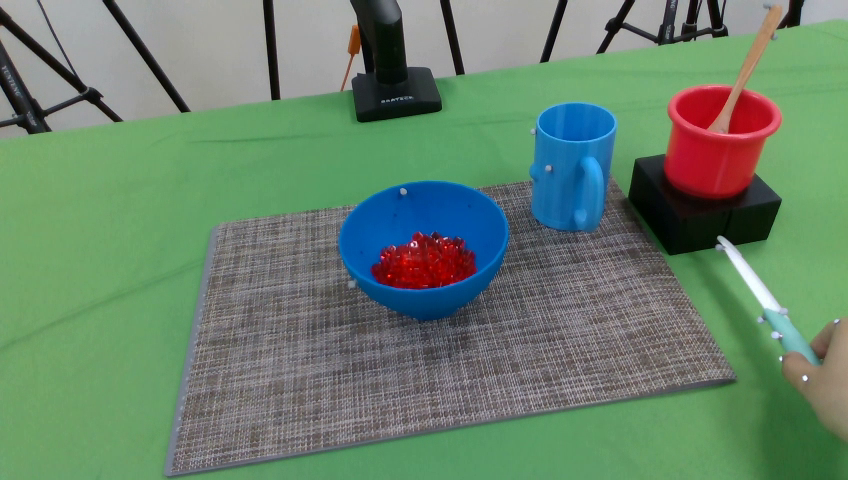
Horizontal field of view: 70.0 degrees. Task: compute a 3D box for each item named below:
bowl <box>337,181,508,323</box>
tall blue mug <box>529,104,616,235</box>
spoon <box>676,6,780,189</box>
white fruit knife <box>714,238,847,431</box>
[{"bbox_3d":[0.001,0.022,0.554,0.151,0.077,0.150,-3,41,3],"label":"bowl"},{"bbox_3d":[0.158,-0.064,0.610,0.078,0.109,0.106,-27,45,-24],"label":"tall blue mug"},{"bbox_3d":[0.297,-0.136,0.581,0.041,0.022,0.194,27,95,34],"label":"spoon"},{"bbox_3d":[0.288,0.066,0.493,0.027,0.016,0.205,10,38,-18],"label":"white fruit knife"}]
